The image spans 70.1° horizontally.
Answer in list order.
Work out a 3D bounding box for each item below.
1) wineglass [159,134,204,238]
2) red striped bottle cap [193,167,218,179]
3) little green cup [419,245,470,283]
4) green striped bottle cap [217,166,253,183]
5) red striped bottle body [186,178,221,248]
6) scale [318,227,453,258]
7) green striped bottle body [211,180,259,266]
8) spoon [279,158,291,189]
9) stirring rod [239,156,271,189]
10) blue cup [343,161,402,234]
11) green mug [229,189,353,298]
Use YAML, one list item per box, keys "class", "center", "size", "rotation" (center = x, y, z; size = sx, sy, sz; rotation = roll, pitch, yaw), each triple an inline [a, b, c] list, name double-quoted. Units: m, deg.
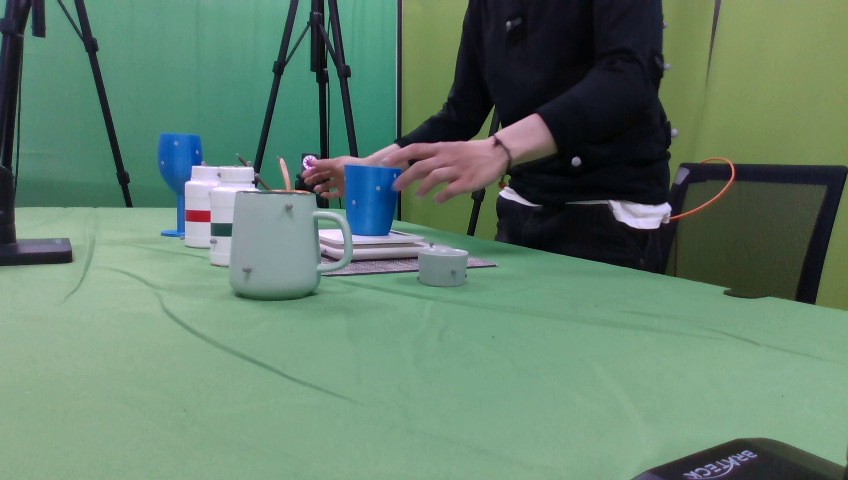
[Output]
- class: "wineglass"
  center: [-0.415, -0.093, 1.040]
  size: [0.074, 0.172, 0.073]
  rotation: [2, 7, 0]
- class: "red striped bottle cap"
  center: [-0.329, -0.103, 0.921]
  size: [0.044, 0.017, 0.044]
  rotation: [-1, 9, 0]
- class: "little green cup"
  center: [0.023, 0.028, 0.712]
  size: [0.061, 0.038, 0.061]
  rotation: [2, 6, 0]
- class: "green striped bottle cap"
  center: [-0.242, -0.085, 0.777]
  size: [0.044, 0.020, 0.044]
  rotation: [2, 9, 0]
- class: "red striped bottle body"
  center: [-0.331, -0.050, 0.927]
  size: [0.063, 0.119, 0.063]
  rotation: [2, 6, 0]
- class: "scale"
  center: [-0.067, 0.001, 0.906]
  size: [0.202, 0.031, 0.148]
  rotation: [-2, 8, -31]
- class: "green striped bottle body"
  center: [-0.243, -0.029, 0.784]
  size: [0.063, 0.119, 0.063]
  rotation: [2, 7, 0]
- class: "spoon"
  center: [-0.281, -0.103, 1.251]
  size: [0.042, 0.193, 0.021]
  rotation: [19, -47, -40]
- class: "stirring rod"
  center: [-0.309, -0.100, 1.214]
  size: [0.006, 0.177, 0.014]
  rotation: [-37, 26, 3]
- class: "blue cup"
  center: [-0.078, -0.061, 0.884]
  size: [0.093, 0.100, 0.092]
  rotation: [4, 6, 0]
- class: "green mug"
  center: [-0.135, 0.002, 0.618]
  size: [0.125, 0.105, 0.092]
  rotation: [2, 7, 4]
